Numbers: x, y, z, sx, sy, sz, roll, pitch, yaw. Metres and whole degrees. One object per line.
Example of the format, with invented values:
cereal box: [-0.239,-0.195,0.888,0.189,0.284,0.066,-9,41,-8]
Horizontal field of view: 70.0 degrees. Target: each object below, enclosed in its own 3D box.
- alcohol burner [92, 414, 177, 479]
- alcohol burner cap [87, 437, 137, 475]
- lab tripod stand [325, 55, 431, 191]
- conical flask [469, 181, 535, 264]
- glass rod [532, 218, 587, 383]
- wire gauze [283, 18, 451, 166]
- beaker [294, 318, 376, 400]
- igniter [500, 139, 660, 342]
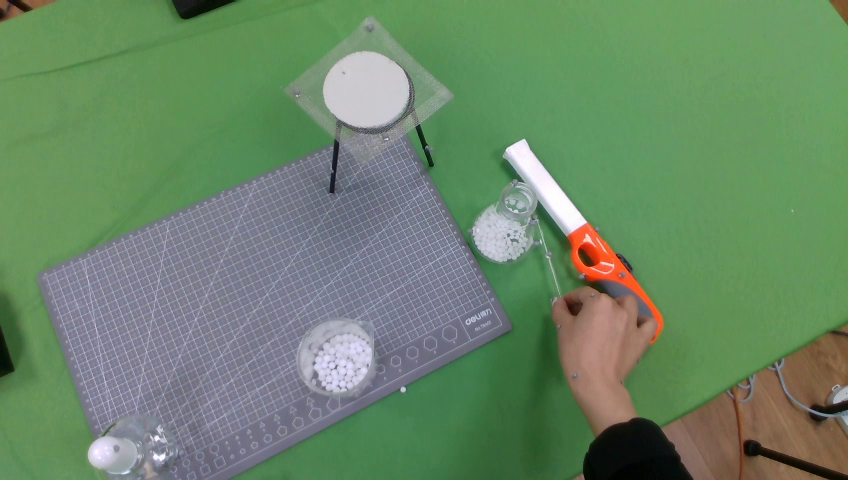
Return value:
alcohol burner: [-0.284,0.205,0.578,0.078,0.120,0.077,1,71,-2]
alcohol burner cap: [-0.283,0.192,0.544,0.034,0.048,0.033,2,63,-3]
lab tripod stand: [-0.060,-0.127,0.675,0.148,0.132,0.147,1,74,-3]
conical flask: [0.091,-0.024,0.657,0.075,0.122,0.075,1,74,-1]
glass rod: [0.149,0.063,0.677,0.008,0.008,0.198,-10,66,-5]
wire gauze: [-0.058,-0.151,0.612,0.125,0.011,0.121,-42,81,-13]
beaker: [-0.084,0.122,0.617,0.073,0.101,0.084,43,76,10]
igniter: [0.181,-0.003,0.704,0.057,0.025,0.275,-30,77,-21]
